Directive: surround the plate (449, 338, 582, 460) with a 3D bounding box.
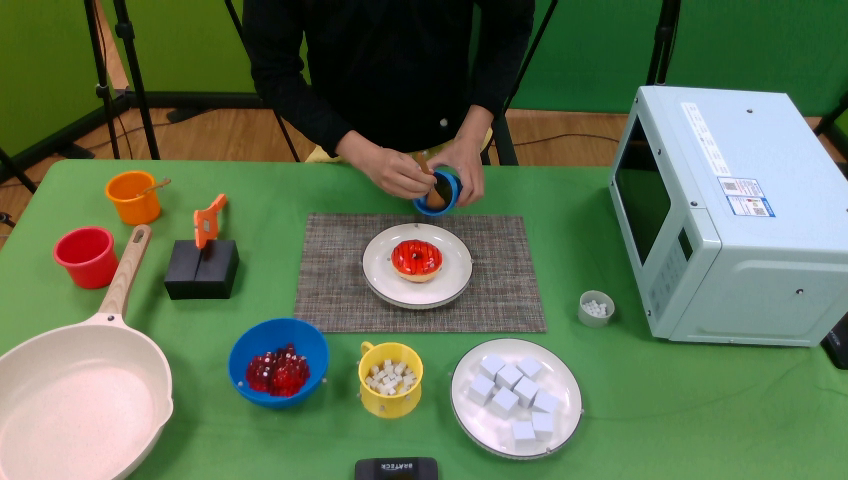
[{"bbox_3d":[0.141,0.251,0.955,0.208,0.039,0.206,2,47,-2],"label":"plate"}]

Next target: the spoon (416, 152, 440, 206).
[{"bbox_3d":[0.009,-0.102,1.063,0.041,0.195,0.021,-1,63,12],"label":"spoon"}]

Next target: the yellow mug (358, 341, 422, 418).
[{"bbox_3d":[-0.063,0.210,0.961,0.100,0.064,0.130,-29,54,-28],"label":"yellow mug"}]

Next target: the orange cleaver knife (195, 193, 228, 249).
[{"bbox_3d":[-0.406,-0.041,1.163,0.012,0.077,0.210,0,18,-3],"label":"orange cleaver knife"}]

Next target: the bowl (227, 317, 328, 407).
[{"bbox_3d":[-0.222,0.203,0.947,0.151,0.077,0.150,2,46,-2],"label":"bowl"}]

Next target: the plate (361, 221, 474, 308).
[{"bbox_3d":[-0.011,0.049,1.130,0.209,0.038,0.208,2,46,-2],"label":"plate"}]

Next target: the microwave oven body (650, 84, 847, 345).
[{"bbox_3d":[0.569,-0.054,1.115,0.326,0.261,0.439,2,46,-1],"label":"microwave oven body"}]

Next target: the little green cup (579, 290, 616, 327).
[{"bbox_3d":[0.308,0.124,1.086,0.061,0.039,0.061,1,45,-1],"label":"little green cup"}]

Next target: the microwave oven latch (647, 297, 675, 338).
[{"bbox_3d":[0.413,0.133,1.060,0.030,0.029,0.078,5,46,2],"label":"microwave oven latch"}]

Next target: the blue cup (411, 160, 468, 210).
[{"bbox_3d":[0.037,-0.095,1.148,0.092,0.092,0.100,34,11,25],"label":"blue cup"}]

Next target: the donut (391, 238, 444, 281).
[{"bbox_3d":[-0.012,0.035,1.128,0.099,0.048,0.098,3,43,-3],"label":"donut"}]

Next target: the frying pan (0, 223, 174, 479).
[{"bbox_3d":[-0.505,0.169,0.941,0.307,0.103,0.485,5,54,-1],"label":"frying pan"}]

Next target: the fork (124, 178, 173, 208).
[{"bbox_3d":[-0.525,-0.089,1.153,0.207,0.019,0.028,-17,27,45],"label":"fork"}]

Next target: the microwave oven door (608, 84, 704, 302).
[{"bbox_3d":[0.424,-0.096,1.138,0.039,0.245,0.353,2,47,-1],"label":"microwave oven door"}]
